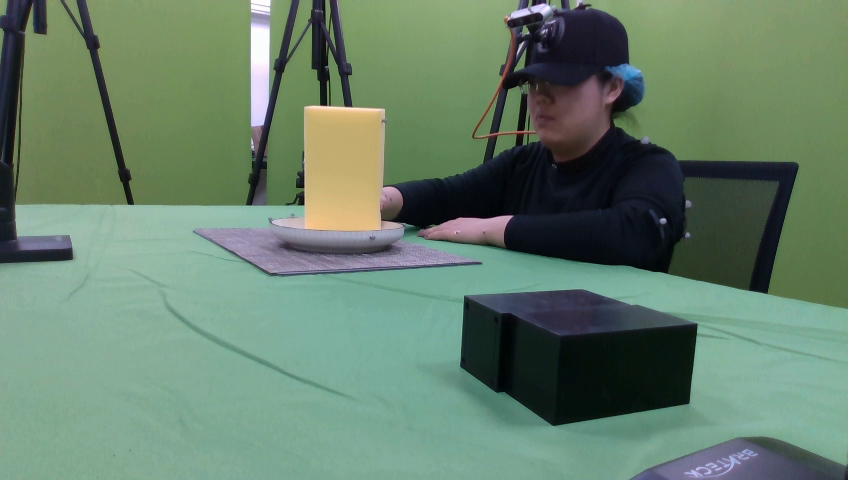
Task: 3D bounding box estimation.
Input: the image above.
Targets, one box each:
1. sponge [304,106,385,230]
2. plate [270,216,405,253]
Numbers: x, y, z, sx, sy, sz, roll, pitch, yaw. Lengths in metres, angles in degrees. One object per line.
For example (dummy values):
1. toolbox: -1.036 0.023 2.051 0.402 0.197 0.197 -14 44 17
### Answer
1. sponge: -0.127 -0.107 0.964 0.118 0.206 0.061 4 15 1
2. plate: -0.134 -0.009 0.946 0.208 0.039 0.207 3 7 0
